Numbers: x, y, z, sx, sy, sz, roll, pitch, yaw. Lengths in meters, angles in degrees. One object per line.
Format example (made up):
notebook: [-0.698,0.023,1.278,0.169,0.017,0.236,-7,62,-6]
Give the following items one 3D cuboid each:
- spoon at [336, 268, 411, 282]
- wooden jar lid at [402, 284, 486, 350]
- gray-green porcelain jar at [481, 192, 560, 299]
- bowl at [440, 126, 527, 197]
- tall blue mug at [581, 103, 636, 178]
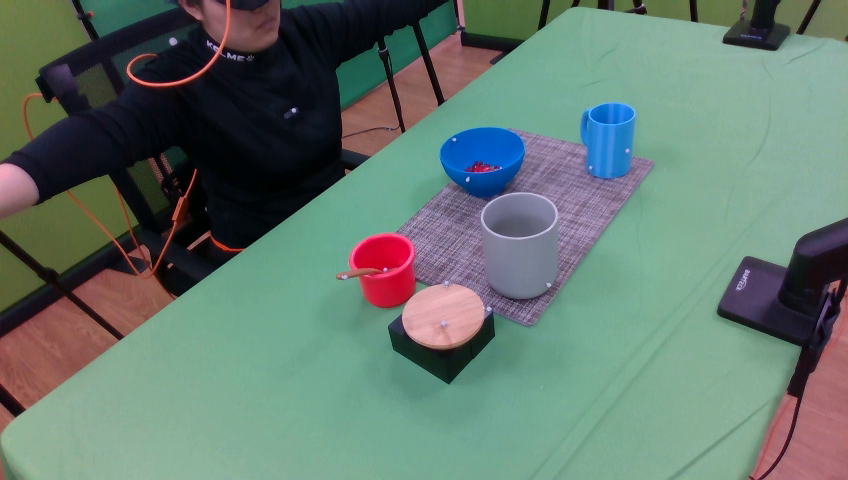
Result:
spoon: [-0.071,0.047,0.850,0.041,0.195,0.021,18,93,24]
wooden jar lid: [0.026,0.101,0.786,0.108,0.021,0.108,-5,39,4]
gray-green porcelain jar: [0.138,0.012,0.858,0.106,0.127,0.105,-6,40,5]
bowl: [0.107,-0.130,1.070,0.151,0.077,0.150,-5,40,5]
tall blue mug: [0.313,-0.178,1.062,0.106,0.108,0.078,21,50,31]
